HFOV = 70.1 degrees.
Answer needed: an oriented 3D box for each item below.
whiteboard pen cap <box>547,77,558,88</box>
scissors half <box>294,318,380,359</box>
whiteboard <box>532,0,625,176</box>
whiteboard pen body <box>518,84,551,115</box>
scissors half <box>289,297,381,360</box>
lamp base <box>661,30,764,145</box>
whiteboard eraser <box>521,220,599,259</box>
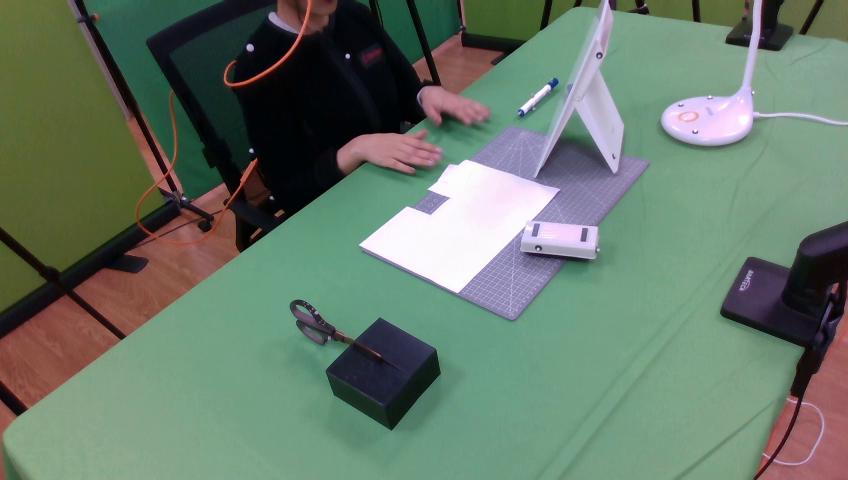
[{"bbox_3d":[0.279,-0.341,1.321,0.018,0.018,0.033,22,52,31],"label":"whiteboard pen cap"},{"bbox_3d":[-0.118,0.135,0.809,0.173,0.040,0.013,9,37,43],"label":"scissors half"},{"bbox_3d":[0.320,-0.259,1.050,0.144,0.306,0.217,21,45,5],"label":"whiteboard"},{"bbox_3d":[0.242,-0.306,1.289,0.017,0.017,0.141,24,52,32],"label":"whiteboard pen body"},{"bbox_3d":[-0.120,0.117,0.798,0.174,0.040,0.013,27,43,31],"label":"scissors half"},{"bbox_3d":[0.535,-0.287,1.096,0.179,0.181,0.159,-10,40,-4],"label":"lamp base"},{"bbox_3d":[0.208,0.001,0.922,0.112,0.042,0.055,6,41,17],"label":"whiteboard eraser"}]
